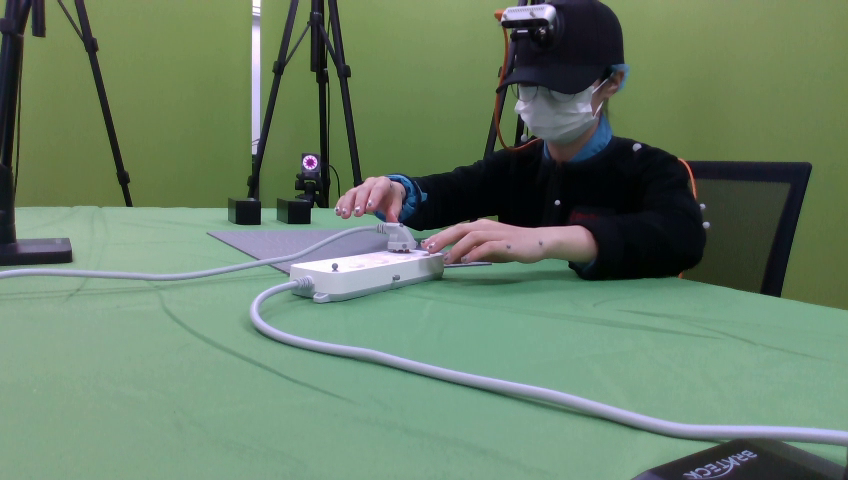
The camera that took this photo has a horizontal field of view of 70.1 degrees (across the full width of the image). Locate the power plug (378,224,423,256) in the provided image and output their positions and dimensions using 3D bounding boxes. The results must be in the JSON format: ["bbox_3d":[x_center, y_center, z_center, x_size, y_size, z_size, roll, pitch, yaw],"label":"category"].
[{"bbox_3d":[-0.025,0.009,0.729,0.053,0.035,0.072,6,27,-23],"label":"power plug"}]

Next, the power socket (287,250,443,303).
[{"bbox_3d":[-0.059,0.035,0.688,0.072,0.032,0.228,6,8,34],"label":"power socket"}]
